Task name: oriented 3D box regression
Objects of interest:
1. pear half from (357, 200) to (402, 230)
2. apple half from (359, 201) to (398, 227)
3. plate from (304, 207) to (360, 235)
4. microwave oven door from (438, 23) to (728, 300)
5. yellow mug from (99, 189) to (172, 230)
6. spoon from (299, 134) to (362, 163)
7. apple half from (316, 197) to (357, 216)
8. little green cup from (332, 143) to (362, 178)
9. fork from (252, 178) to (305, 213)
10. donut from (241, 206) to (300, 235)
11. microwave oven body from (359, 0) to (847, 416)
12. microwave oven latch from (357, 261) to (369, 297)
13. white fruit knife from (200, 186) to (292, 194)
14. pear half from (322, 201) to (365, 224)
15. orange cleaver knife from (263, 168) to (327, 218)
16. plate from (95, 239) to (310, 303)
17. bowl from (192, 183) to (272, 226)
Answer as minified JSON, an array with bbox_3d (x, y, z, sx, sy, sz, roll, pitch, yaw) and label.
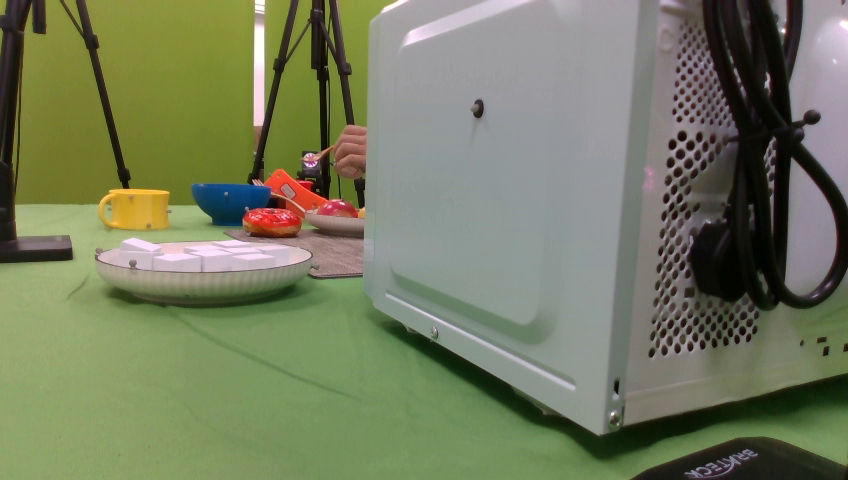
[{"bbox_3d":[-0.075,-0.047,1.133,0.076,0.056,0.110,12,7,31],"label":"pear half"},{"bbox_3d":[-0.088,-0.058,1.190,0.081,0.033,0.081,10,29,-5],"label":"apple half"},{"bbox_3d":[-0.123,-0.037,1.149,0.209,0.038,0.209,2,7,0],"label":"plate"},{"bbox_3d":[0.181,-0.072,0.621,0.358,0.243,0.039,-2,8,-29],"label":"microwave oven door"},{"bbox_3d":[-0.518,-0.055,1.080,0.099,0.064,0.131,6,9,26],"label":"yellow mug"},{"bbox_3d":[-0.242,-0.243,1.591,0.194,0.021,0.041,-32,31,-27],"label":"spoon"},{"bbox_3d":[-0.161,-0.052,1.121,0.081,0.053,0.074,4,8,-14],"label":"apple half"},{"bbox_3d":[-0.130,-0.138,1.053,0.061,0.038,0.061,7,-23,3],"label":"little green cup"},{"bbox_3d":[-0.295,-0.084,1.292,0.206,0.018,0.028,29,10,25],"label":"fork"},{"bbox_3d":[-0.263,-0.032,1.039,0.099,0.048,0.099,4,10,0],"label":"donut"},{"bbox_3d":[0.211,-0.047,0.474,0.444,0.260,0.324,-1,7,-28],"label":"microwave oven body"},{"bbox_3d":[-0.019,0.033,0.530,0.079,0.029,0.030,-1,7,-26],"label":"microwave oven latch"},{"bbox_3d":[-0.399,-0.111,1.368,0.208,0.016,0.027,-4,-19,-30],"label":"white fruit knife"},{"bbox_3d":[-0.157,-0.059,1.197,0.088,0.031,0.070,12,30,-4],"label":"pear half"},{"bbox_3d":[-0.262,-0.088,1.353,0.211,0.077,0.012,28,13,-1],"label":"orange cleaver knife"},{"bbox_3d":[-0.224,0.031,0.629,0.208,0.039,0.207,2,8,0],"label":"plate"},{"bbox_3d":[-0.381,-0.071,1.202,0.151,0.077,0.151,3,7,0],"label":"bowl"}]
